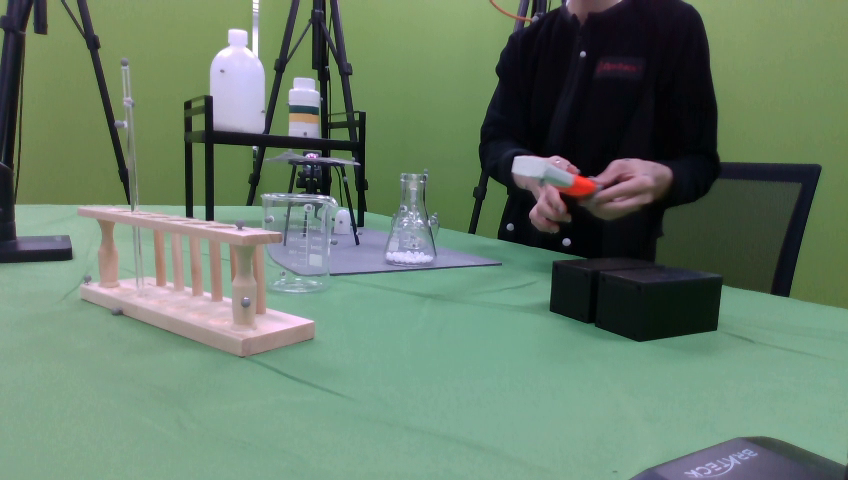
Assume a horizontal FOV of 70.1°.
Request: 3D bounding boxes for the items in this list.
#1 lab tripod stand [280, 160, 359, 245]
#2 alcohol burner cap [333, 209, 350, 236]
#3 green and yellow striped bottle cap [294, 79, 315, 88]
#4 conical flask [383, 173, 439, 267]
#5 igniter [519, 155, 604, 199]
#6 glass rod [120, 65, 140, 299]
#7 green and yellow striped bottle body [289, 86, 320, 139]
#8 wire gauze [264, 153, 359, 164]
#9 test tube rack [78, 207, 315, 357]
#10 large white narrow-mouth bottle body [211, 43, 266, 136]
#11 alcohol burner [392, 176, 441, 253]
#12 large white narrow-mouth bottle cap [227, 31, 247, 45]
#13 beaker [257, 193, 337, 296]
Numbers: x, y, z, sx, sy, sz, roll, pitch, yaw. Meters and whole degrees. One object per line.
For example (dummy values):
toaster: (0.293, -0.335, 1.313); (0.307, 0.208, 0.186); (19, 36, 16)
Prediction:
lab tripod stand: (-0.176, -0.062, 0.973); (0.148, 0.131, 0.148); (1, 7, 0)
alcohol burner cap: (-0.151, -0.033, 1.116); (0.034, 0.048, 0.034); (4, 7, 0)
green and yellow striped bottle cap: (-0.248, -0.323, 1.256); (0.045, 0.020, 0.045); (3, 9, 0)
conical flask: (-0.016, -0.028, 0.808); (0.075, 0.122, 0.075); (2, 8, 0)
igniter: (0.163, -0.068, 0.684); (0.057, 0.025, 0.278); (13, 5, 25)
glass rod: (-0.249, -0.047, 0.513); (0.008, 0.199, 0.008); (-1, 4, 0)
green and yellow striped bottle body: (-0.250, -0.272, 1.261); (0.063, 0.119, 0.063); (3, 7, 0)
wire gauze: (-0.181, -0.130, 0.969); (0.126, 0.011, 0.121); (-1, 6, -27)
test tube rack: (-0.196, 0.023, 0.500); (0.241, 0.085, 0.067); (8, 8, 37)
large white narrow-mouth bottle body: (-0.361, -0.302, 1.176); (0.102, 0.194, 0.102); (1, 7, 0)
alcohol burner: (-0.012, -0.041, 0.944); (0.078, 0.119, 0.078); (0, 7, 0)
large white narrow-mouth bottle cap: (-0.361, -0.388, 1.166); (0.038, 0.024, 0.037); (1, 7, 0)
beaker: (-0.130, 0.004, 0.628); (0.084, 0.100, 0.074); (5, 8, 15)
